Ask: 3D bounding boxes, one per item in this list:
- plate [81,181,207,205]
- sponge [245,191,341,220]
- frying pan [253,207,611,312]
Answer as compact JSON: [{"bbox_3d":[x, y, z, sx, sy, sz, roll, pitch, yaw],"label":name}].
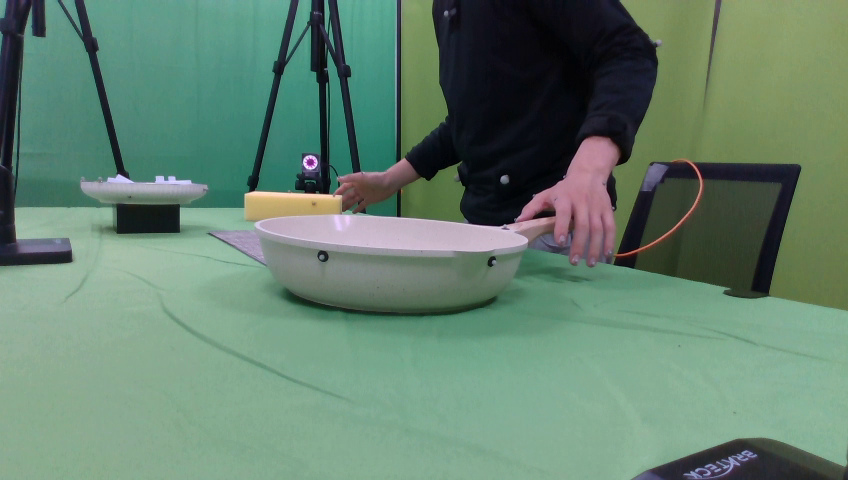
[{"bbox_3d":[-0.504,-0.086,1.100,0.208,0.039,0.207,2,6,0],"label":"plate"},{"bbox_3d":[-0.296,-0.077,1.389,0.207,0.061,0.118,2,8,-7],"label":"sponge"},{"bbox_3d":[0.052,-0.001,0.715,0.490,0.102,0.305,-11,15,-31],"label":"frying pan"}]
